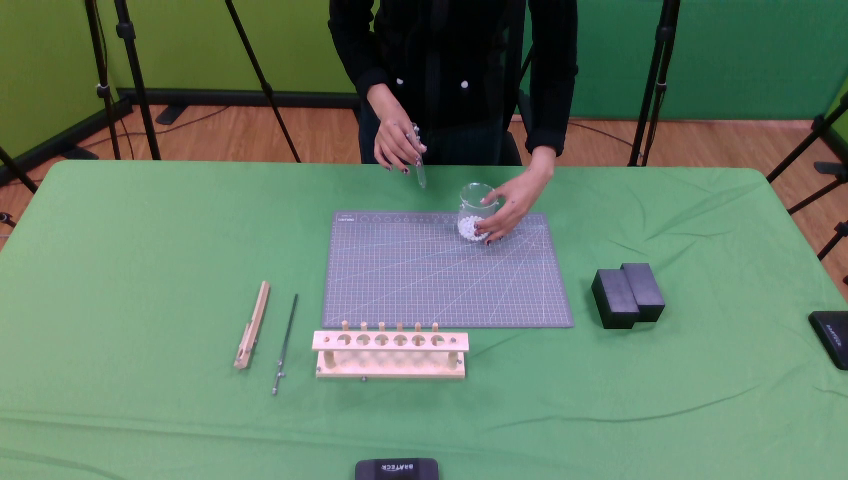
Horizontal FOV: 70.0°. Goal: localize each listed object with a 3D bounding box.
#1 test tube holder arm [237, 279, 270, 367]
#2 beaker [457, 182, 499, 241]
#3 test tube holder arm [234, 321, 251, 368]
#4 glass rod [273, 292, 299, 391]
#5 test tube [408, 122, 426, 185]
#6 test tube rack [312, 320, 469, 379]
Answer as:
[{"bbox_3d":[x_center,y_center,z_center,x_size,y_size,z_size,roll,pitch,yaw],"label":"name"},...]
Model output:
[{"bbox_3d":[-0.290,0.139,1.042,0.013,0.015,0.177,-16,42,22],"label":"test tube holder arm"},{"bbox_3d":[0.103,-0.055,1.201,0.074,0.101,0.083,-15,48,-17],"label":"beaker"},{"bbox_3d":[-0.299,0.173,1.013,0.010,0.015,0.087,-16,42,22],"label":"test tube holder arm"},{"bbox_3d":[-0.233,0.167,1.030,0.008,0.008,0.198,3,46,0],"label":"glass rod"},{"bbox_3d":[-0.012,-0.164,1.174,0.017,0.151,0.017,-5,47,6],"label":"test tube"},{"bbox_3d":[-0.053,0.173,0.984,0.242,0.085,0.066,1,46,-3],"label":"test tube rack"}]
